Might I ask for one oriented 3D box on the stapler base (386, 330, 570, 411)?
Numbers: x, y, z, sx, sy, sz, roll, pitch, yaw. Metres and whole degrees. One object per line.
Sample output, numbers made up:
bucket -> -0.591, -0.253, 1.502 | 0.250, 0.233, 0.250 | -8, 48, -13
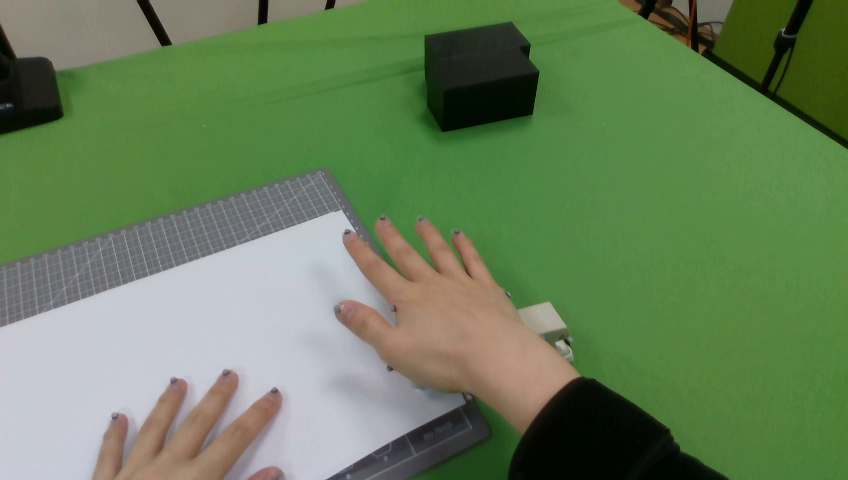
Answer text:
stapler base -> 0.038, 0.075, 0.413 | 0.131, 0.024, 0.041 | -16, 53, -19

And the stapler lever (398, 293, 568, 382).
stapler lever -> 0.039, 0.062, 0.400 | 0.118, 0.040, 0.026 | -20, 54, -13
